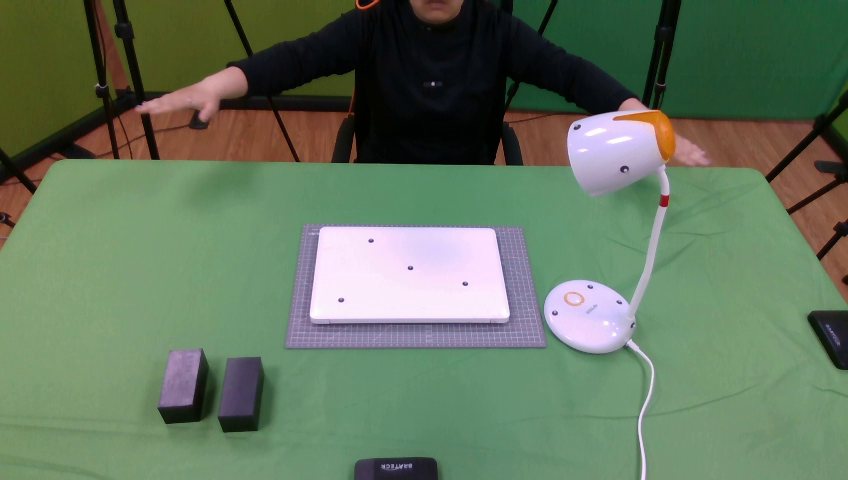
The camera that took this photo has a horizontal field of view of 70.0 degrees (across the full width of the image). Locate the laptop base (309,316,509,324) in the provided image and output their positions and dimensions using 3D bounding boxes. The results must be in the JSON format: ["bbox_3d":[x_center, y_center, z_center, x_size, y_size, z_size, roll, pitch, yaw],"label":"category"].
[{"bbox_3d":[-0.029,0.064,1.136,0.355,0.023,0.234,0,43,-4],"label":"laptop base"}]

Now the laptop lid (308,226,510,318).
[{"bbox_3d":[-0.028,0.054,1.129,0.357,0.013,0.240,2,44,-3],"label":"laptop lid"}]

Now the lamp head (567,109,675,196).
[{"bbox_3d":[0.272,-0.123,0.818,0.122,0.113,0.112,-9,35,37],"label":"lamp head"}]

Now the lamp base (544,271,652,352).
[{"bbox_3d":[0.310,0.086,1.029,0.178,0.181,0.160,32,52,21],"label":"lamp base"}]
